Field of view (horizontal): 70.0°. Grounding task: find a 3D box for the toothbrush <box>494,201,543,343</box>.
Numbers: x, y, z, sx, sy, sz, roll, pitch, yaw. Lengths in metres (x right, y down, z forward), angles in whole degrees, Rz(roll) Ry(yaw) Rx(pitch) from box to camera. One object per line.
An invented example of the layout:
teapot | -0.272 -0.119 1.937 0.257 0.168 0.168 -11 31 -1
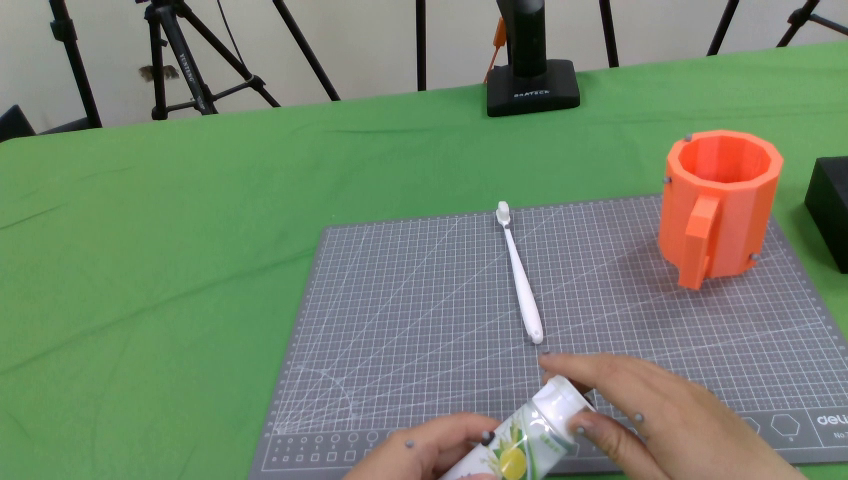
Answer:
toothbrush | 0.086 0.023 0.562 0.014 0.017 0.180 2 41 -7

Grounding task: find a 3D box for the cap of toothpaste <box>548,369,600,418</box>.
cap of toothpaste | 0.089 0.093 0.359 0.011 0.038 0.037 -45 45 2

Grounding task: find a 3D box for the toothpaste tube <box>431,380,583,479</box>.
toothpaste tube | 0.032 0.147 0.364 0.165 0.035 0.054 -45 62 2

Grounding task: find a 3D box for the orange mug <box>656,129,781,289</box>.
orange mug | 0.240 -0.022 0.510 0.083 0.102 0.126 15 43 29
